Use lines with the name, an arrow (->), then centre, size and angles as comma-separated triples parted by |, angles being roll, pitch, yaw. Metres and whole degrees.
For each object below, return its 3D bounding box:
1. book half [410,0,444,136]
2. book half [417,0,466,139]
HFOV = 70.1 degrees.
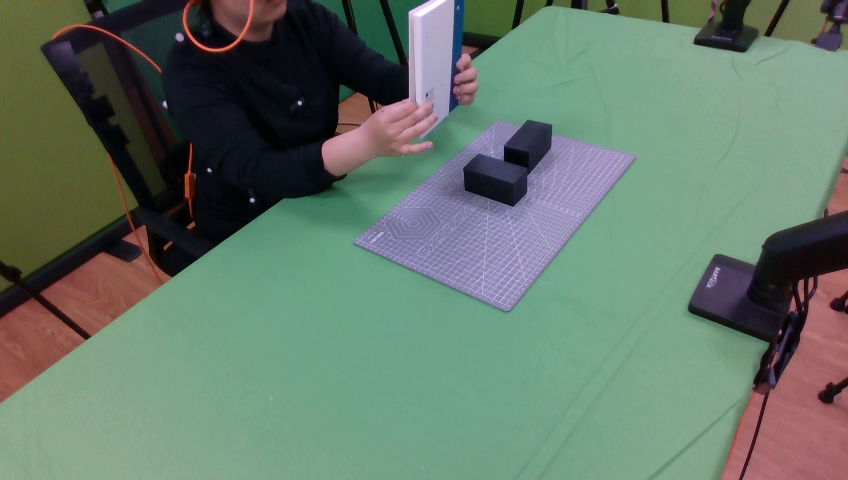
book half -> 0.019, -0.293, 1.011 | 0.007, 0.211, 0.143 | 24, 45, 23
book half -> 0.027, -0.291, 1.008 | 0.016, 0.211, 0.149 | 21, 44, 20
